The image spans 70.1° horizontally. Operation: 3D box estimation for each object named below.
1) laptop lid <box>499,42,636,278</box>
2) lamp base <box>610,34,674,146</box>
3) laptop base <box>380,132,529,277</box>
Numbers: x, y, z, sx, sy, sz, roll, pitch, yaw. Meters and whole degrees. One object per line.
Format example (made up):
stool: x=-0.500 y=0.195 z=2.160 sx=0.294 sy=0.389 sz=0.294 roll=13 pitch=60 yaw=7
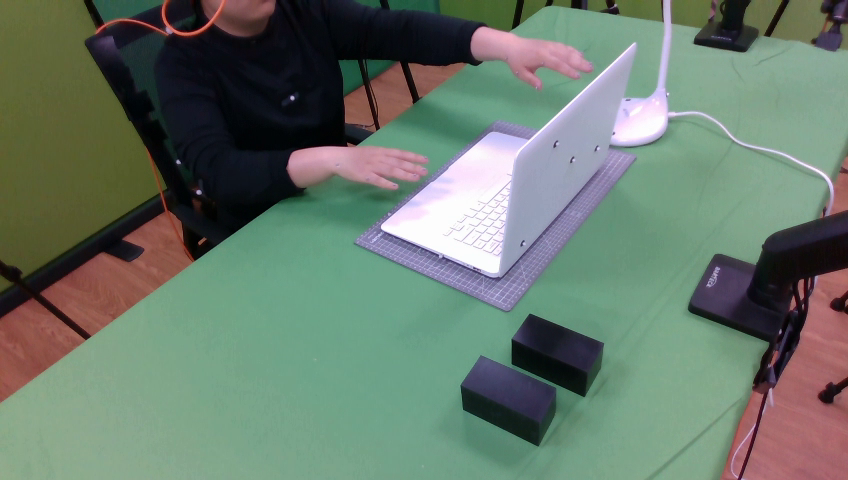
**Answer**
laptop lid: x=0.217 y=-0.122 z=0.898 sx=0.013 sy=0.242 sz=0.358 roll=28 pitch=50 yaw=25
lamp base: x=0.392 y=-0.291 z=1.129 sx=0.180 sy=0.181 sz=0.159 roll=-11 pitch=41 yaw=-8
laptop base: x=0.122 y=-0.077 z=1.042 sx=0.233 sy=0.023 sz=0.355 roll=20 pitch=47 yaw=33
